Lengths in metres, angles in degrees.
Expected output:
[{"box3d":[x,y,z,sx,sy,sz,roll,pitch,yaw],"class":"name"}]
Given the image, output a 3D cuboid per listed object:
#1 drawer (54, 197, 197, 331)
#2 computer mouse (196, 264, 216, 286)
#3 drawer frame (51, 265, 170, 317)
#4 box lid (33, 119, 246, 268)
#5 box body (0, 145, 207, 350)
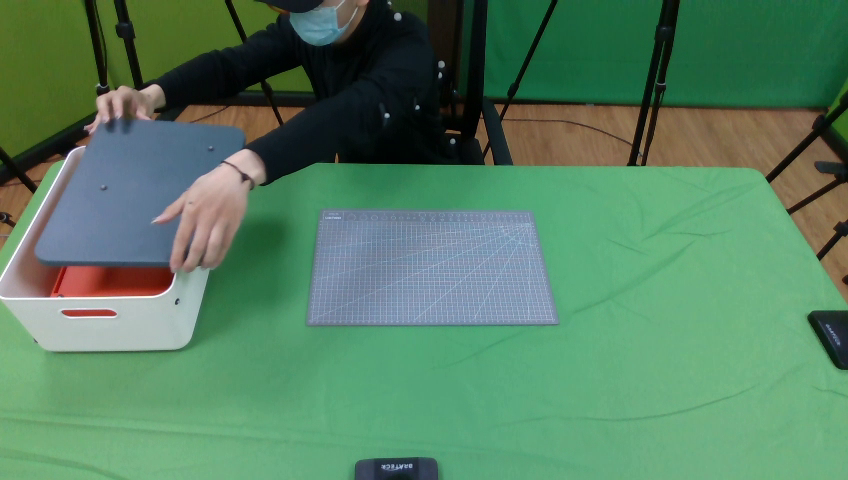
[{"box3d":[-0.513,0.040,1.059,0.212,0.074,0.193,-15,53,4],"class":"drawer"},{"box3d":[-0.417,0.037,1.057,0.063,0.041,0.116,-35,51,-27],"class":"computer mouse"},{"box3d":[-0.503,0.045,1.066,0.214,0.083,0.200,-4,47,-7],"class":"drawer frame"},{"box3d":[-0.454,-0.092,1.018,0.264,0.015,0.369,2,44,-9],"class":"box lid"},{"box3d":[-0.510,0.008,1.054,0.254,0.161,0.361,-1,46,-5],"class":"box body"}]
